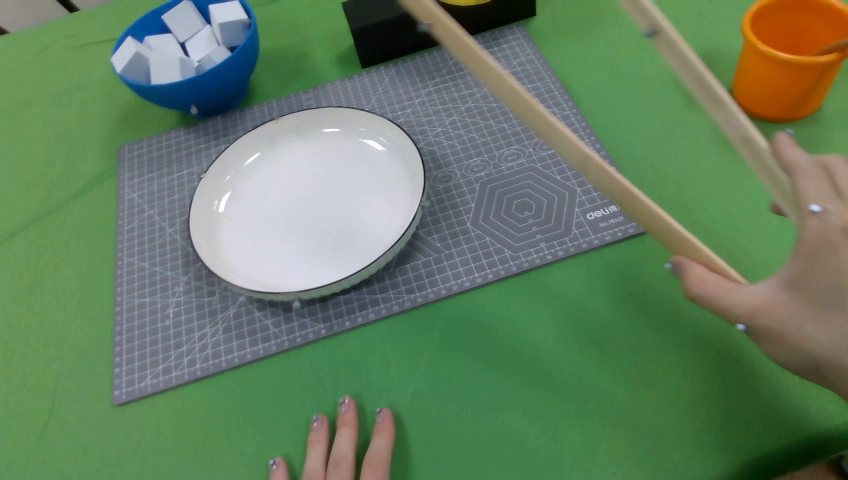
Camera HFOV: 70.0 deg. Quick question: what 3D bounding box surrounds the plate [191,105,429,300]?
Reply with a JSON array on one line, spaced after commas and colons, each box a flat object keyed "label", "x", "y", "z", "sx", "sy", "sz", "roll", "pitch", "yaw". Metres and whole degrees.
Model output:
[{"label": "plate", "x": -0.097, "y": -0.034, "z": 0.533, "sx": 0.207, "sy": 0.039, "sz": 0.205, "roll": -5, "pitch": 55, "yaw": 7}]

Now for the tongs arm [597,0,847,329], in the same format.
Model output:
[{"label": "tongs arm", "x": 0.145, "y": -0.111, "z": 0.400, "sx": 0.051, "sy": 0.027, "sz": 0.382, "roll": -31, "pitch": 74, "yaw": -13}]

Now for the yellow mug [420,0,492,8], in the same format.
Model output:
[{"label": "yellow mug", "x": 0.031, "y": -0.286, "z": 0.611, "sx": 0.131, "sy": 0.064, "sz": 0.099, "roll": -31, "pitch": 55, "yaw": -11}]

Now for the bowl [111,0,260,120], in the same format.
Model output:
[{"label": "bowl", "x": -0.236, "y": -0.181, "z": 0.640, "sx": 0.151, "sy": 0.077, "sz": 0.150, "roll": -5, "pitch": 54, "yaw": 7}]

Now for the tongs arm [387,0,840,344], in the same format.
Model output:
[{"label": "tongs arm", "x": 0.086, "y": -0.071, "z": 0.385, "sx": 0.028, "sy": 0.028, "sz": 0.385, "roll": -41, "pitch": 76, "yaw": -19}]

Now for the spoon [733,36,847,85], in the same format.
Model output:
[{"label": "spoon", "x": 0.324, "y": -0.149, "z": 0.473, "sx": 0.041, "sy": 0.193, "sz": 0.022, "roll": -36, "pitch": 100, "yaw": -12}]
